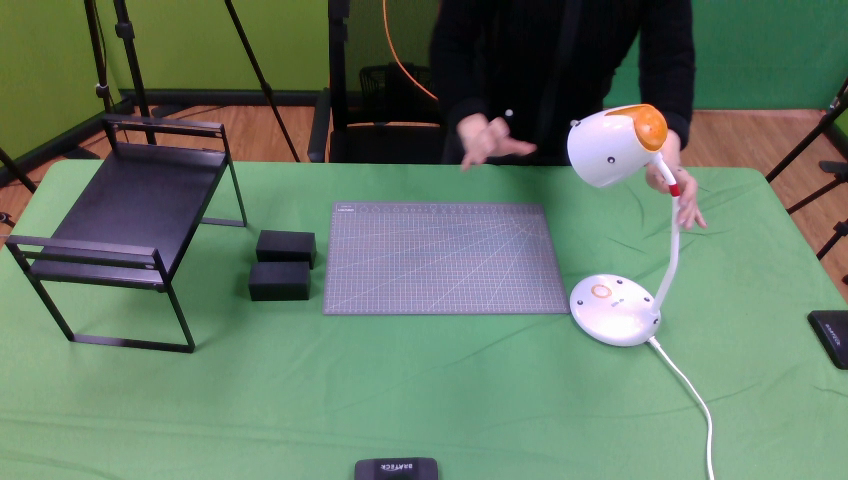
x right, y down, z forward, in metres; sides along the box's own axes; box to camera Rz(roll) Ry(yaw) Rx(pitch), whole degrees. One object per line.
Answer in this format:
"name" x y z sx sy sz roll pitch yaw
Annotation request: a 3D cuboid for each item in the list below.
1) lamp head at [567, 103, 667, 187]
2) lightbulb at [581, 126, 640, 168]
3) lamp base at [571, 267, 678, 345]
"lamp head" 0.289 -0.142 0.875 0.113 0.122 0.112 5 81 -30
"lightbulb" 0.279 -0.143 0.899 0.060 0.107 0.059 3 80 -21
"lamp base" 0.359 0.077 1.038 0.160 0.181 0.178 -34 59 -30
